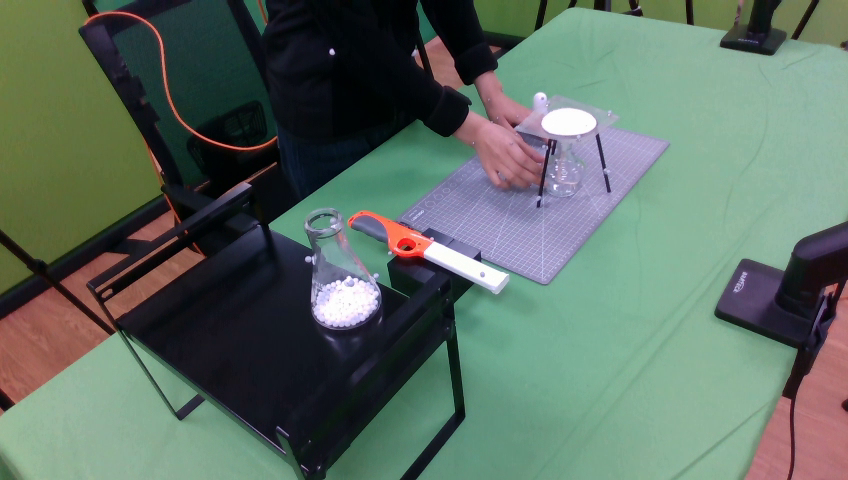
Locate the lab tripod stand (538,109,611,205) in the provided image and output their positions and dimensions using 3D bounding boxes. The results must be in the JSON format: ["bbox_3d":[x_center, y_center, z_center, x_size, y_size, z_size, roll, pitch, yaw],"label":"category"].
[{"bbox_3d":[0.244,-0.141,1.014,0.148,0.132,0.147,-3,39,3],"label":"lab tripod stand"}]

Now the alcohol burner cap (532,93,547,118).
[{"bbox_3d":[0.240,-0.281,1.251,0.034,0.048,0.033,-4,42,4],"label":"alcohol burner cap"}]

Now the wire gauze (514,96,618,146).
[{"bbox_3d":[0.229,-0.190,0.969,0.120,0.011,0.125,26,50,33],"label":"wire gauze"}]

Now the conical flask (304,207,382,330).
[{"bbox_3d":[-0.088,0.025,0.601,0.075,0.122,0.075,-5,40,5],"label":"conical flask"}]

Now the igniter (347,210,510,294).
[{"bbox_3d":[-0.002,0.012,0.884,0.274,0.025,0.057,24,53,28],"label":"igniter"}]

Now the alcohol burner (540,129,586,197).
[{"bbox_3d":[0.236,-0.133,1.022,0.078,0.119,0.077,-4,39,4],"label":"alcohol burner"}]
